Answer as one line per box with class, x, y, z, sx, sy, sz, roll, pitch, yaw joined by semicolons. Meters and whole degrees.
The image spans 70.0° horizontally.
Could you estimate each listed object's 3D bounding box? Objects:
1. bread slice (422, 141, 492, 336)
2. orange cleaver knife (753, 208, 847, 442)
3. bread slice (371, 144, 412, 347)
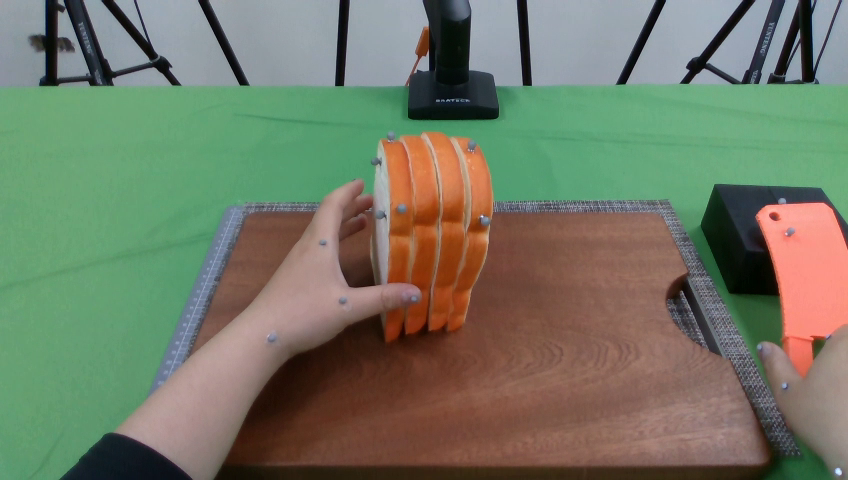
bread slice;0.024;-0.006;0.466;0.019;0.132;0.103;1;41;-14
orange cleaver knife;0.306;0.057;0.477;0.077;0.012;0.209;11;59;6
bread slice;-0.026;-0.004;0.462;0.018;0.135;0.106;-2;36;-11
